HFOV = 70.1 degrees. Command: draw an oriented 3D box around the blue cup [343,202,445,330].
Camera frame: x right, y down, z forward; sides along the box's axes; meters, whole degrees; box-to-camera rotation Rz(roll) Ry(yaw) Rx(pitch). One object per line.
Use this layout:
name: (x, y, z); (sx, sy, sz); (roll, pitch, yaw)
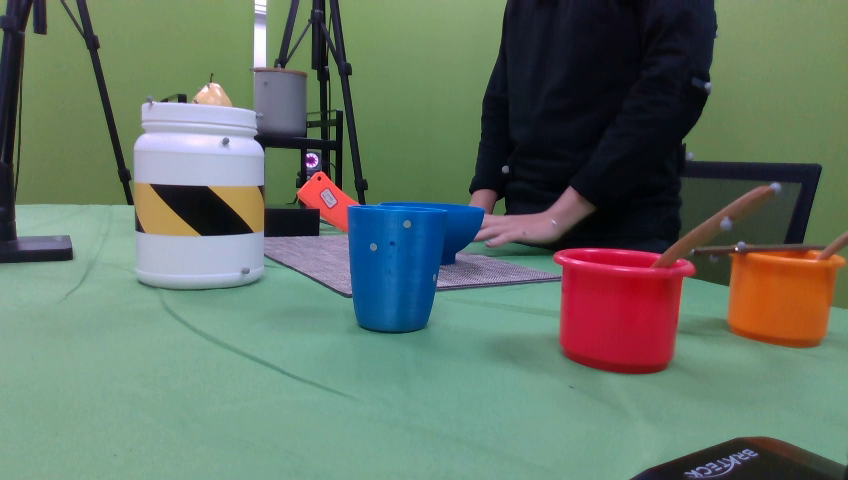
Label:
blue cup: (-0.027, 0.021, 0.510); (0.093, 0.100, 0.092); (3, 5, 0)

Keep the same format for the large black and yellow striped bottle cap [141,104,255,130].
large black and yellow striped bottle cap: (-0.241, -0.131, 0.650); (0.115, 0.019, 0.115); (3, 8, 0)

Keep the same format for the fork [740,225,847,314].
fork: (0.323, 0.013, 0.485); (0.028, 0.018, 0.207); (8, -38, -6)

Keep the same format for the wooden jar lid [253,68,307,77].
wooden jar lid: (-0.296, -0.339, 1.250); (0.108, 0.020, 0.108); (3, 10, 0)

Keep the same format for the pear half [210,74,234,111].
pear half: (-0.401, -0.262, 1.162); (0.076, 0.109, 0.056); (7, 7, 2)

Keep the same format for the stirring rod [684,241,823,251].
stirring rod: (0.289, 0.005, 0.525); (0.177, 0.006, 0.014); (-1, 5, -26)

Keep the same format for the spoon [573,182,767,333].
spoon: (0.158, 0.020, 0.412); (0.042, 0.021, 0.193); (-2, -35, -21)

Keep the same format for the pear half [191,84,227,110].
pear half: (-0.405, -0.248, 1.129); (0.070, 0.088, 0.031); (6, 6, 2)

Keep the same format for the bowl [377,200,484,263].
bowl: (0.008, -0.012, 0.842); (0.151, 0.077, 0.151); (2, 7, 0)

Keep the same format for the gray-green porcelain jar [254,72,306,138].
gray-green porcelain jar: (-0.299, -0.277, 1.257); (0.106, 0.126, 0.106); (2, 8, 0)

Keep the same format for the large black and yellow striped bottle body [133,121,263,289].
large black and yellow striped bottle body: (-0.243, -0.048, 0.659); (0.131, 0.184, 0.130); (2, 7, 0)

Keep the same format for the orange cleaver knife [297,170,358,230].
orange cleaver knife: (-0.149, -0.058, 1.170); (0.212, 0.077, 0.012); (33, -15, -32)
